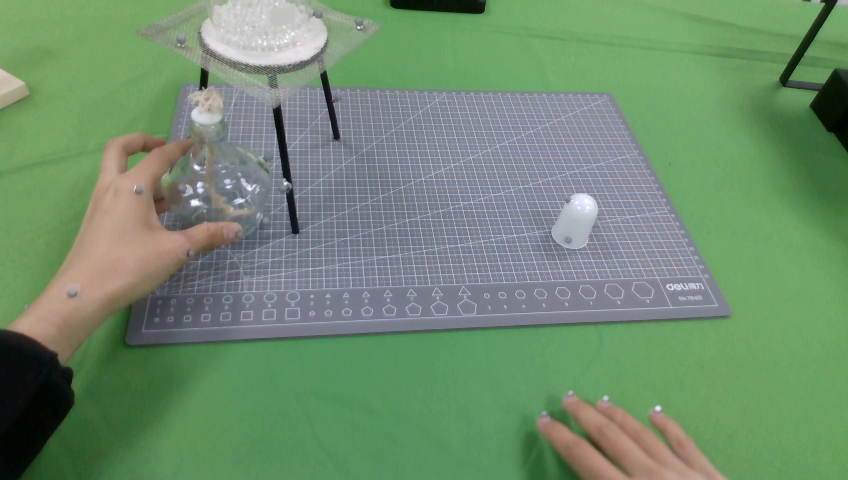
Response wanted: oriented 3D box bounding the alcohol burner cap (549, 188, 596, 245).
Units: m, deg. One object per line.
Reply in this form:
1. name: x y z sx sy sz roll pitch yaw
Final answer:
1. alcohol burner cap: 0.126 -0.021 0.503 0.034 0.048 0.033 4 48 -4

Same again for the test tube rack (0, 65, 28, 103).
1. test tube rack: -0.449 -0.109 0.460 0.066 0.086 0.241 29 51 15

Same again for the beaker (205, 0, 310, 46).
1. beaker: -0.112 -0.185 0.393 0.073 0.101 0.084 36 55 20

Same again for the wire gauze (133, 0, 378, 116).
1. wire gauze: -0.114 -0.149 0.427 0.124 0.011 0.121 31 54 12

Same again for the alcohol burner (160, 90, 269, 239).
1. alcohol burner: -0.154 -0.058 0.442 0.078 0.120 0.077 5 47 -5

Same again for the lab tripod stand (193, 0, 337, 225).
1. lab tripod stand: -0.119 -0.106 0.476 0.149 0.132 0.147 6 49 -6
